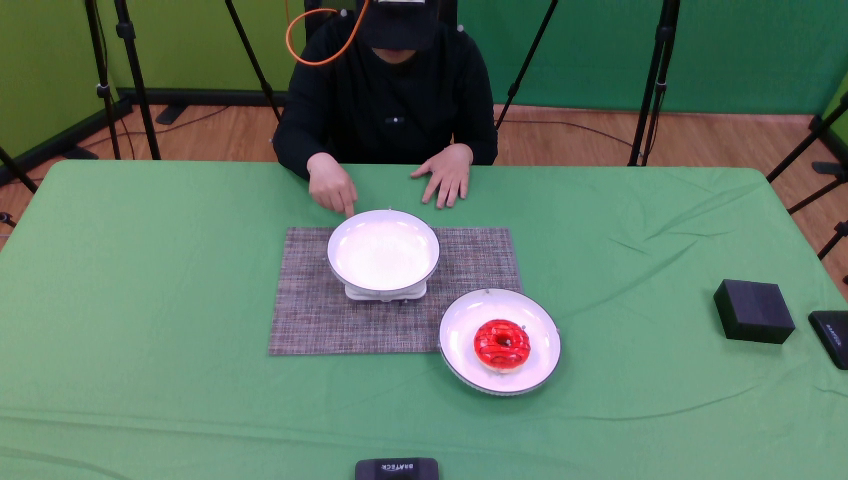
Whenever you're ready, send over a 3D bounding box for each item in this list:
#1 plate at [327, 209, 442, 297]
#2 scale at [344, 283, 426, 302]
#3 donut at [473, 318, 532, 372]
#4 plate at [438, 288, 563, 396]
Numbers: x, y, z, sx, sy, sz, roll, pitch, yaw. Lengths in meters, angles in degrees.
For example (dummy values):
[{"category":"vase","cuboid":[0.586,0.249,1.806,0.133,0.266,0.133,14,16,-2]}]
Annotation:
[{"category":"plate","cuboid":[-0.071,0.027,1.110,0.208,0.039,0.206,2,46,-1]},{"category":"scale","cuboid":[-0.075,0.033,1.149,0.149,0.032,0.199,0,45,-5]},{"category":"donut","cuboid":[0.131,0.174,1.010,0.099,0.048,0.098,1,48,-1]},{"category":"plate","cuboid":[0.127,0.173,1.025,0.209,0.038,0.208,3,48,-3]}]
